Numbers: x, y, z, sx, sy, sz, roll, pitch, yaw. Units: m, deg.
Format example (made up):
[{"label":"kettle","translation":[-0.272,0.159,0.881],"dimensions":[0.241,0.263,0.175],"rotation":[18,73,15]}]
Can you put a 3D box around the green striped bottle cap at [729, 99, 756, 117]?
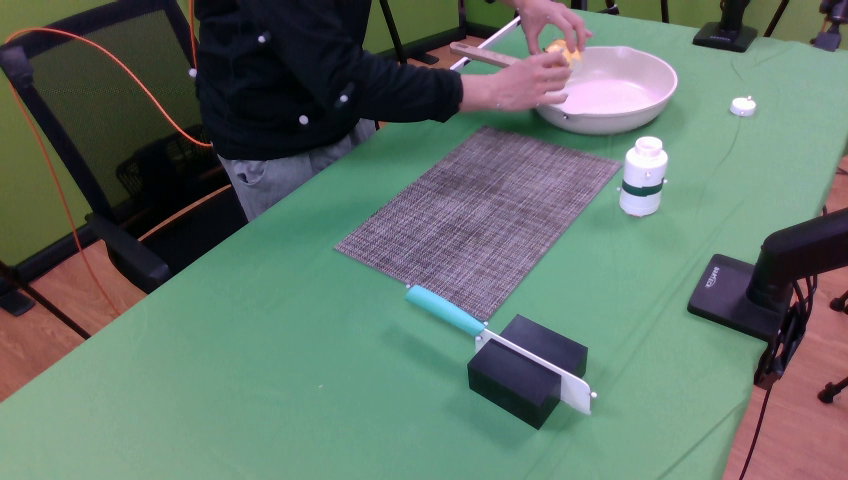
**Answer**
[{"label":"green striped bottle cap","translation":[0.623,-0.259,1.182],"dimensions":[0.044,0.020,0.044],"rotation":[-3,40,3]}]

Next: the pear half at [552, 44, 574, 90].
[{"label":"pear half","translation":[0.242,-0.300,1.041],"dimensions":[0.031,0.088,0.070],"rotation":[6,62,19]}]

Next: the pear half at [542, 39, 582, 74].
[{"label":"pear half","translation":[0.256,-0.356,1.153],"dimensions":[0.076,0.111,0.056],"rotation":[-14,77,36]}]

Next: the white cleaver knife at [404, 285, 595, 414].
[{"label":"white cleaver knife","translation":[0.083,0.136,0.764],"dimensions":[0.284,0.066,0.021],"rotation":[28,47,31]}]

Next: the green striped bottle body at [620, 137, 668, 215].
[{"label":"green striped bottle body","translation":[0.350,-0.103,0.963],"dimensions":[0.063,0.120,0.063],"rotation":[-4,41,4]}]

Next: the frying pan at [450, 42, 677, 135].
[{"label":"frying pan","translation":[0.268,-0.344,1.267],"dimensions":[0.485,0.103,0.307],"rotation":[26,49,21]}]
